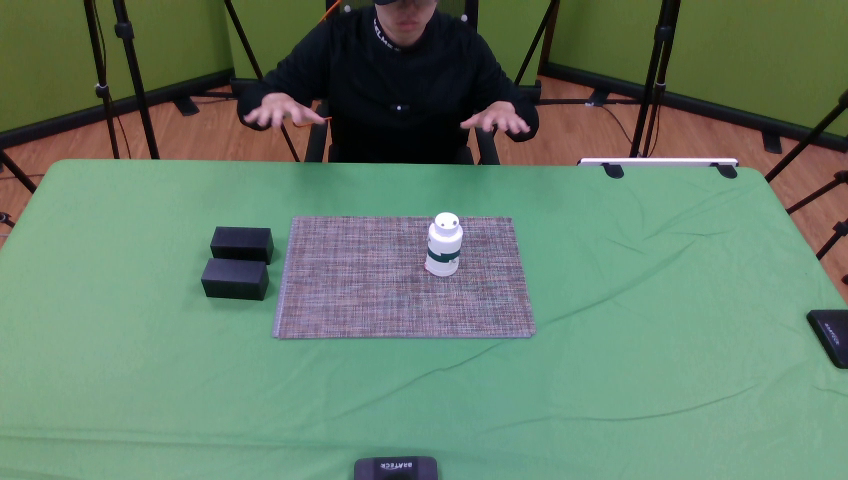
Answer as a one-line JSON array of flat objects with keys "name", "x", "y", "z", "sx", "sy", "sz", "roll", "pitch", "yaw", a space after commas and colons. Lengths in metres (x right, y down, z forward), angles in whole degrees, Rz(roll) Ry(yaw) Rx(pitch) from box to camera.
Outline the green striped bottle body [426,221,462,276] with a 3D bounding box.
[{"name": "green striped bottle body", "x": 0.037, "y": 0.007, "z": 1.122, "sx": 0.063, "sy": 0.120, "sz": 0.063, "roll": 2, "pitch": 46, "yaw": -2}]

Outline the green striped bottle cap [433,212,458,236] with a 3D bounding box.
[{"name": "green striped bottle cap", "x": 0.039, "y": -0.030, "z": 1.085, "sx": 0.044, "sy": 0.020, "sz": 0.044, "roll": 3, "pitch": 46, "yaw": -3}]
